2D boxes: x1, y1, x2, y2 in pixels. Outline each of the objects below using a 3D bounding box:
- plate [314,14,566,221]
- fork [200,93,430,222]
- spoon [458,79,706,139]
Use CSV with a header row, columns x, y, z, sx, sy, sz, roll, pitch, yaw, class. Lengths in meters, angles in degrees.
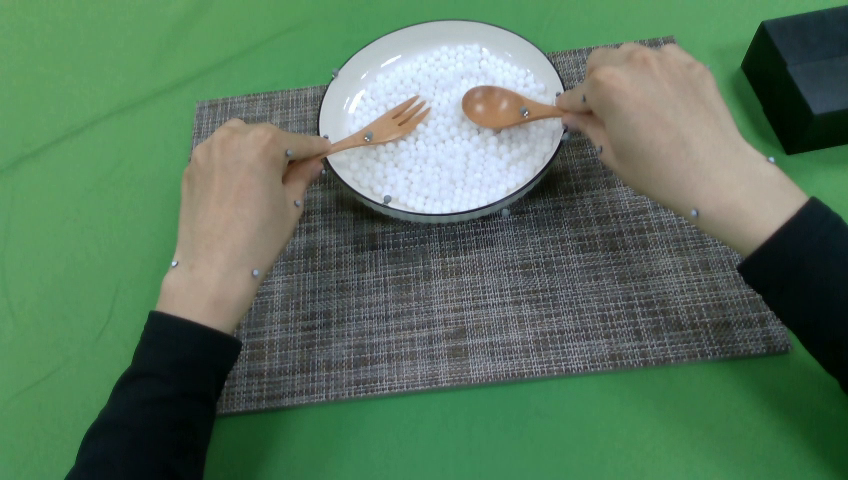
x,y,z,sx,sy,sz,roll,pitch,yaw,class
0.013,-0.103,0.512,0.209,0.038,0.207,-3,62,6,plate
-0.082,-0.068,0.484,0.207,0.019,0.028,-31,67,-22,fork
0.113,-0.098,0.464,0.192,0.022,0.041,16,69,32,spoon
